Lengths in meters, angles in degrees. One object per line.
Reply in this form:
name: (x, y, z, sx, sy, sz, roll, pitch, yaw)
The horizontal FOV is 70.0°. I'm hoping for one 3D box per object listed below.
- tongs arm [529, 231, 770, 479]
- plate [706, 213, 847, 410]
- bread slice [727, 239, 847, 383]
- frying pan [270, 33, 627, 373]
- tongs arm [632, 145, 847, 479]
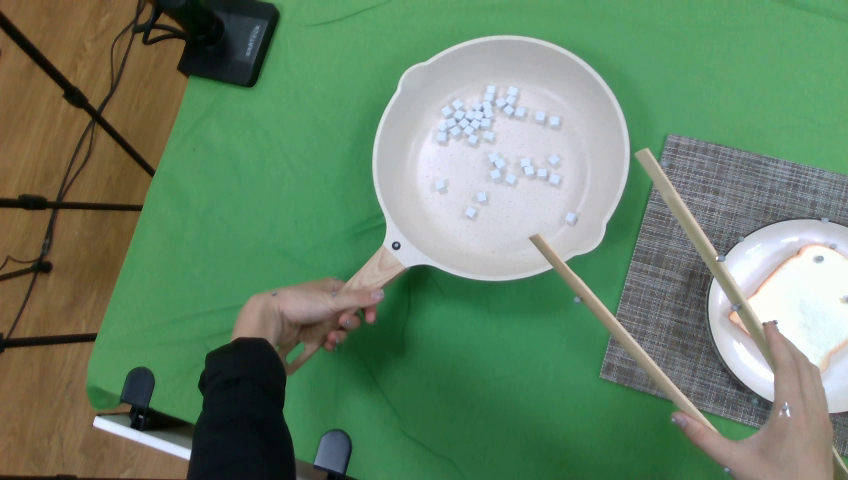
tongs arm: (0.230, 0.129, 0.534, 0.388, 0.028, 0.028, 45, 77, -4)
plate: (0.409, 0.075, 0.648, 0.207, 0.039, 0.207, -2, 79, 9)
bread slice: (0.409, 0.066, 0.651, 0.106, 0.018, 0.134, 41, 90, 13)
frying pan: (0.009, -0.027, 0.702, 0.487, 0.103, 0.305, -42, 75, -9)
tongs arm: (0.284, 0.087, 0.543, 0.051, 0.026, 0.385, -36, 93, -10)
